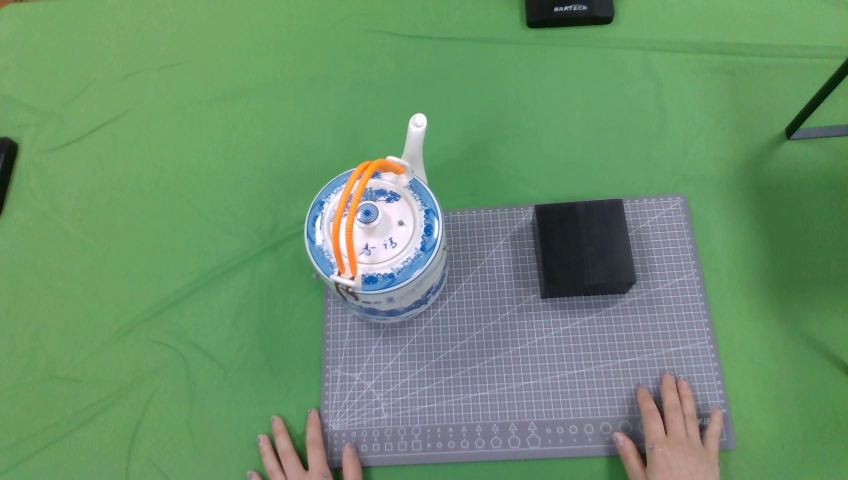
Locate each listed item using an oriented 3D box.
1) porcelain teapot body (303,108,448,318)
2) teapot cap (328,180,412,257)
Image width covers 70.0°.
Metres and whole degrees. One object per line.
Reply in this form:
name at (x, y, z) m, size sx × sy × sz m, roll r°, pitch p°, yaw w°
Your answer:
porcelain teapot body at (-0.041, -0.036, 0.644) m, size 0.145 × 0.227 × 0.204 m, roll 18°, pitch 72°, yaw 11°
teapot cap at (-0.055, -0.024, 0.599) m, size 0.085 × 0.044 × 0.084 m, roll -2°, pitch 68°, yaw 4°
